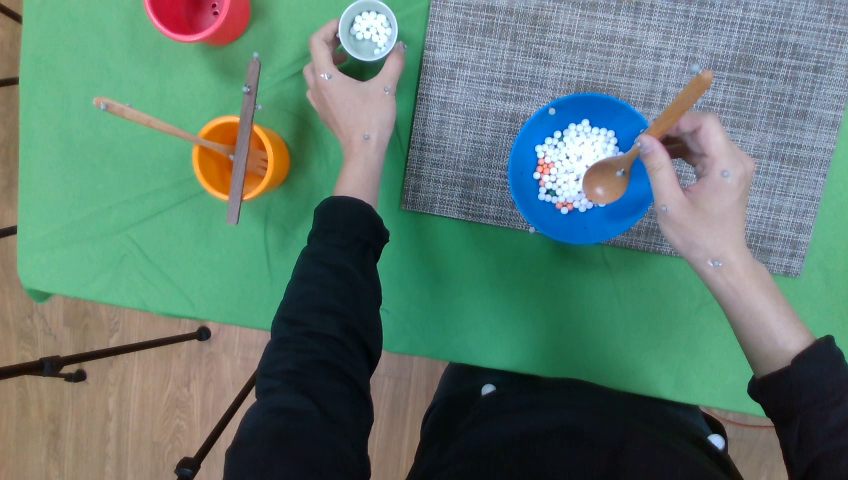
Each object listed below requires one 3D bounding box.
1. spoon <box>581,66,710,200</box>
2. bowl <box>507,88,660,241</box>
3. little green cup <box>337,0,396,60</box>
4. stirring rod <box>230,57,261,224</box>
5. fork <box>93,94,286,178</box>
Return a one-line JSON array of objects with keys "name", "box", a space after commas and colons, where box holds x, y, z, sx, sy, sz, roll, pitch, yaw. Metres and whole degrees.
[{"name": "spoon", "box": [0.180, -0.081, 0.507, 0.041, 0.194, 0.021, 44, 72, 8]}, {"name": "bowl", "box": [0.162, -0.078, 0.639, 0.151, 0.076, 0.151, 1, 99, 7]}, {"name": "little green cup", "box": [-0.059, -0.222, 0.643, 0.061, 0.038, 0.061, 0, 98, 3]}, {"name": "stirring rod", "box": [-0.190, -0.104, 0.643, 0.014, 0.006, 0.176, 11, 101, 6]}, {"name": "fork", "box": [-0.243, -0.110, 0.651, 0.209, 0.018, 0.028, 19, 107, -40]}]
